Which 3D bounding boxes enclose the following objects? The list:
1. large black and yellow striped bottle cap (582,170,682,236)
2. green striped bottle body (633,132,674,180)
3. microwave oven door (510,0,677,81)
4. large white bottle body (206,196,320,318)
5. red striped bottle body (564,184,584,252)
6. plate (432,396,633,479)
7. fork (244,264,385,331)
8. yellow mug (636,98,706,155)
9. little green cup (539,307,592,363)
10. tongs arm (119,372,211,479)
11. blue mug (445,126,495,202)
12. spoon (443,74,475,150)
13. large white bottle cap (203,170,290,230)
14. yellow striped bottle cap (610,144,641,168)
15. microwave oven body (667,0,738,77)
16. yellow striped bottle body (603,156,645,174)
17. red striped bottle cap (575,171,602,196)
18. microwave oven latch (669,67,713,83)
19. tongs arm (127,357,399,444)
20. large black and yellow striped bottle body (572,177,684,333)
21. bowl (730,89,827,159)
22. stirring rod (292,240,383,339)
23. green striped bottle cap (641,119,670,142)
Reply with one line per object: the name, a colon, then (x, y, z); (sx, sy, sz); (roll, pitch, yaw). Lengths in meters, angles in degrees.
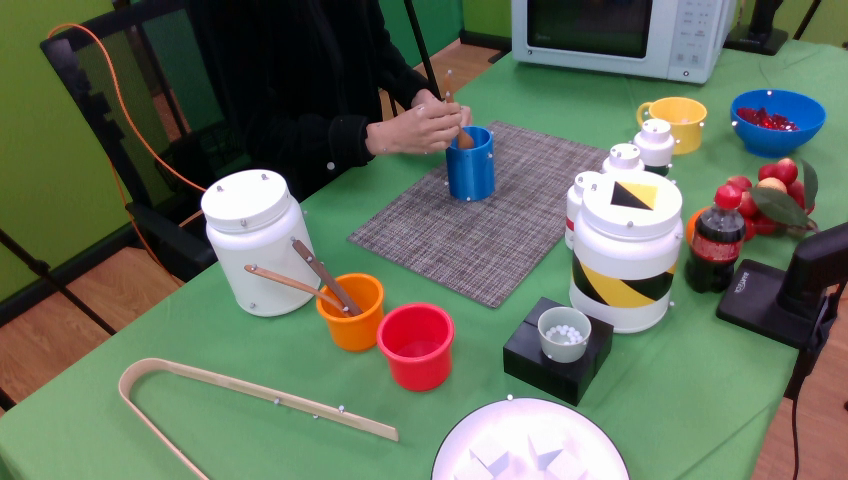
large black and yellow striped bottle cap: (0.252, -0.048, 0.735); (0.115, 0.019, 0.114); (-3, 40, 3)
green striped bottle body: (0.376, -0.135, 1.001); (0.063, 0.120, 0.063); (-5, 40, 5)
microwave oven door: (0.354, -0.478, 1.290); (0.353, 0.245, 0.039); (15, 45, 25)
large white bottle body: (-0.233, 0.008, 0.876); (0.130, 0.185, 0.130); (-4, 40, 4)
red striped bottle body: (0.247, -0.041, 0.910); (0.063, 0.120, 0.062); (-3, 39, 3)
plate: (0.112, 0.261, 0.634); (0.209, 0.038, 0.208); (-5, 40, 4)
fork: (-0.142, 0.078, 0.806); (0.209, 0.018, 0.028); (30, 33, -24)
yellow mug: (0.453, -0.217, 1.128); (0.100, 0.064, 0.129); (-34, 46, -27)
little green cup: (0.168, 0.114, 0.721); (0.061, 0.039, 0.061); (-4, 43, 4)
tongs arm: (-0.257, 0.256, 0.700); (0.384, 0.028, 0.028); (24, 55, 33)
blue mug: (0.077, -0.142, 1.062); (0.082, 0.106, 0.115); (-15, 40, -8)
spoon: (0.052, -0.188, 0.958); (0.041, 0.195, 0.021); (-43, 54, -12)
large white bottle cap: (-0.241, -0.057, 0.822); (0.115, 0.018, 0.114); (-4, 41, 4)
yellow striped bottle cap: (0.307, -0.128, 0.923); (0.044, 0.019, 0.044); (-5, 39, 5)
microwave oven body: (0.462, -0.552, 1.369); (0.439, 0.261, 0.326); (15, 45, 26)
yellow striped bottle body: (0.313, -0.089, 0.956); (0.063, 0.121, 0.062); (-4, 40, 4)
red striped bottle cap: (0.242, -0.081, 0.876); (0.044, 0.018, 0.044); (-5, 44, 5)
microwave oven latch: (0.556, -0.348, 1.261); (0.078, 0.029, 0.030); (16, 46, 27)
tongs arm: (-0.213, 0.205, 0.755); (0.382, 0.026, 0.051); (12, 46, 23)
large black and yellow striped bottle body: (0.262, 0.017, 0.788); (0.131, 0.185, 0.130); (-5, 40, 4)
bowl: (0.615, -0.197, 1.069); (0.151, 0.077, 0.150); (-5, 40, 5)
stirring rod: (-0.118, 0.068, 0.826); (0.176, 0.006, 0.014); (49, 59, -4)
green striped bottle cap: (0.371, -0.175, 0.968); (0.044, 0.020, 0.044); (-4, 41, 4)
